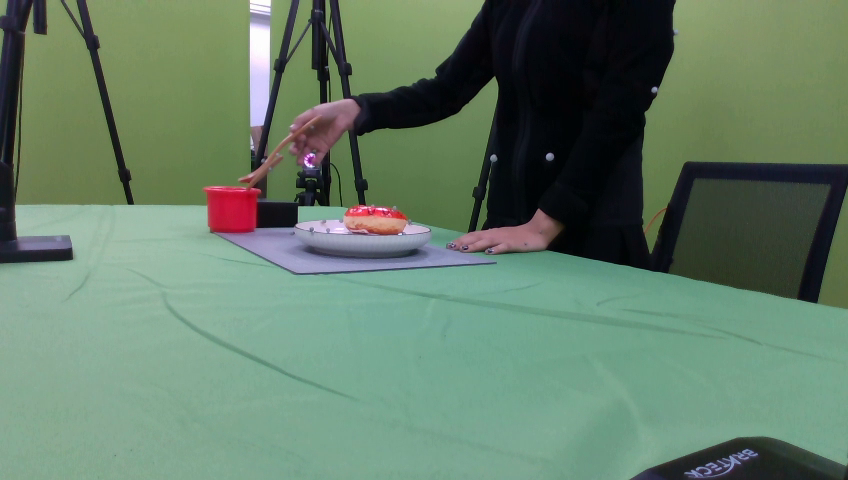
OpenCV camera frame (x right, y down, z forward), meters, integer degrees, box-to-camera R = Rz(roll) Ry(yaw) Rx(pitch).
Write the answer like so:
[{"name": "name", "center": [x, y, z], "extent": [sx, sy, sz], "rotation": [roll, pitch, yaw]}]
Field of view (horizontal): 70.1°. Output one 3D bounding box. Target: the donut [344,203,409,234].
[{"name": "donut", "center": [-0.073, -0.031, 0.931], "extent": [0.099, 0.048, 0.099], "rotation": [4, 3, 0]}]

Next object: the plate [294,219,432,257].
[{"name": "plate", "center": [-0.092, -0.003, 0.923], "extent": [0.209, 0.038, 0.209], "rotation": [2, 7, 0]}]

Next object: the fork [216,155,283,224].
[{"name": "fork", "center": [-0.304, -0.084, 1.054], "extent": [0.207, 0.018, 0.028], "rotation": [-42, -19, 30]}]

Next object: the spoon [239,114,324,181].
[{"name": "spoon", "center": [-0.256, -0.170, 1.098], "extent": [0.194, 0.022, 0.041], "rotation": [-45, 20, -9]}]

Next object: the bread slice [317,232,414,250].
[{"name": "bread slice", "center": [-0.093, 0.000, 0.915], "extent": [0.132, 0.019, 0.104], "rotation": [0, 6, -26]}]
